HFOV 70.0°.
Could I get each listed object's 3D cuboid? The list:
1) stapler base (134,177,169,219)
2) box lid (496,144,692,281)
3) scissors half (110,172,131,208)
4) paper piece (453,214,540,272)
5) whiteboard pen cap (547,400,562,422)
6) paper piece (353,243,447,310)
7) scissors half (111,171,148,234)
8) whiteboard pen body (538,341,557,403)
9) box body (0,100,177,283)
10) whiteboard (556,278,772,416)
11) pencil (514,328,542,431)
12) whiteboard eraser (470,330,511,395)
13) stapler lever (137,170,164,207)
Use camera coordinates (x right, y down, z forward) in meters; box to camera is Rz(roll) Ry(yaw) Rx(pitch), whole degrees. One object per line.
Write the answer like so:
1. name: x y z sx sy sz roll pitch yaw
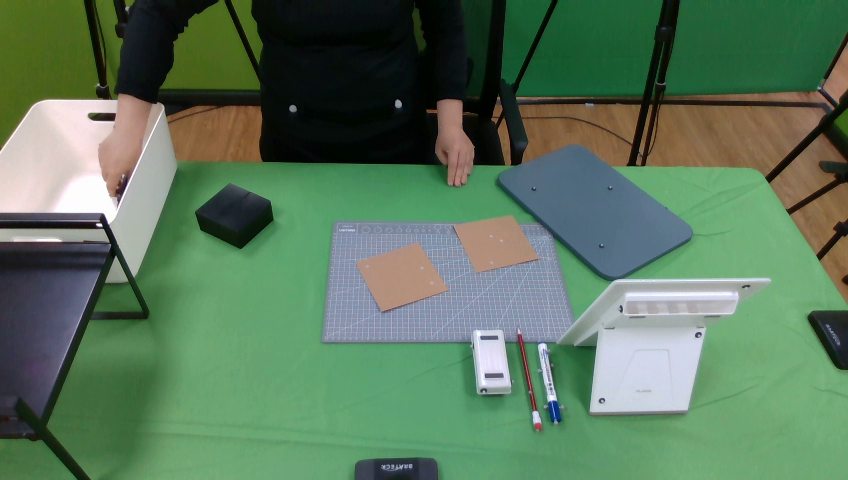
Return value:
1. stapler base: -0.556 -0.092 1.237 0.041 0.024 0.129 8 37 -13
2. box lid: 0.360 -0.073 1.305 0.263 0.015 0.369 -24 52 -25
3. scissors half: -0.617 -0.075 1.223 0.040 0.013 0.174 -17 49 -3
4. paper piece: 0.142 0.002 1.213 0.135 0.004 0.135 -11 47 -14
5. whiteboard pen cap: 0.205 0.269 0.956 0.018 0.018 0.033 0 47 -4
6. paper piece: -0.045 0.066 1.137 0.136 0.009 0.137 -13 46 -22
7. scissors half: -0.597 -0.077 1.223 0.040 0.013 0.174 1 50 5
8. whiteboard pen body: 0.205 0.228 0.997 0.017 0.017 0.140 1 46 -3
9. box body: -0.639 -0.095 1.140 0.254 0.161 0.361 1 46 -5
10. whiteboard: 0.347 0.174 0.903 0.217 0.306 0.143 1 65 -4
11. pencil: 0.169 0.224 1.002 0.012 0.012 0.192 -2 46 -6
12. whiteboard eraser: 0.109 0.202 0.998 0.055 0.042 0.112 1 46 -5
13. stapler lever: -0.552 -0.112 1.223 0.027 0.040 0.117 7 38 -13
